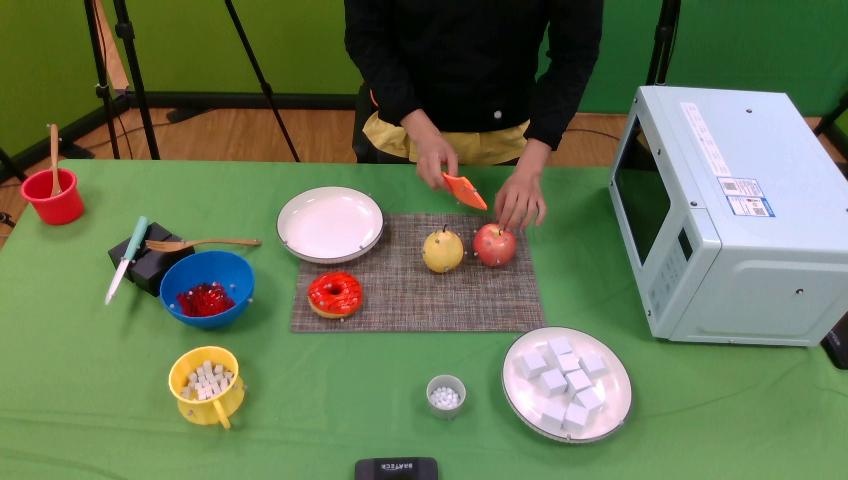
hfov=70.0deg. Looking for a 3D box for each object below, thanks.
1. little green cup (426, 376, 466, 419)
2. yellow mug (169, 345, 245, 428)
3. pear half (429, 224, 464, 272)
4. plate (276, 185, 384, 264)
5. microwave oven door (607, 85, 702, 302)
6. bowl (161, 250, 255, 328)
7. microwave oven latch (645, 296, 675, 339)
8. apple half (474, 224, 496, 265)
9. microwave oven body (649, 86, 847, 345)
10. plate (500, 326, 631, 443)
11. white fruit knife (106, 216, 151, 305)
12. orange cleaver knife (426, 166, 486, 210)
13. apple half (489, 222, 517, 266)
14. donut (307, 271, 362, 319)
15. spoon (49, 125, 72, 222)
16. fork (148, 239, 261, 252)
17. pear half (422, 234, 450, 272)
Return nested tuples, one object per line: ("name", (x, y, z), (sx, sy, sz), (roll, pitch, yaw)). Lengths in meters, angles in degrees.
("little green cup", (0.033, 0.248, 0.950), (0.061, 0.039, 0.061), (2, 46, -2))
("yellow mug", (-0.322, 0.230, 0.922), (0.100, 0.064, 0.130), (-24, 53, -25))
("pear half", (0.045, 0.005, 1.131), (0.056, 0.110, 0.076), (-32, 59, -29))
("plate", (-0.184, -0.027, 1.195), (0.209, 0.038, 0.208), (2, 46, -2))
("microwave oven door", (0.423, -0.094, 1.140), (0.039, 0.245, 0.353), (2, 46, -1))
("bowl", (-0.362, 0.097, 1.040), (0.151, 0.077, 0.150), (2, 45, -2))
("microwave oven latch", (0.412, 0.134, 1.061), (0.030, 0.029, 0.078), (3, 45, 0))
("apple half", (0.111, 0.012, 1.152), (0.033, 0.081, 0.081), (-2, 46, -10))
("microwave oven body", (0.567, -0.053, 1.118), (0.326, 0.261, 0.439), (2, 45, -1))
("plate", (0.224, 0.234, 0.978), (0.208, 0.039, 0.206), (2, 46, -2))
("white fruit knife", (-0.519, 0.032, 1.066), (0.027, 0.016, 0.206), (-18, 45, 19))
("orange cleaver knife", (0.056, -0.097, 1.106), (0.012, 0.077, 0.210), (-36, 24, -8))
("apple half", (0.149, 0.009, 1.159), (0.053, 0.075, 0.080), (-2, 42, -10))
("donut", (-0.157, 0.097, 1.073), (0.099, 0.048, 0.098), (4, 45, -4))
("spoon", (-0.717, -0.131, 1.189), (0.041, 0.021, 0.193), (-3, 90, -7))
("fork", (-0.399, 0.007, 1.118), (0.208, 0.019, 0.028), (-4, 36, -37))
("pear half", (0.017, 0.026, 1.122), (0.031, 0.088, 0.070), (-32, 61, -30))
